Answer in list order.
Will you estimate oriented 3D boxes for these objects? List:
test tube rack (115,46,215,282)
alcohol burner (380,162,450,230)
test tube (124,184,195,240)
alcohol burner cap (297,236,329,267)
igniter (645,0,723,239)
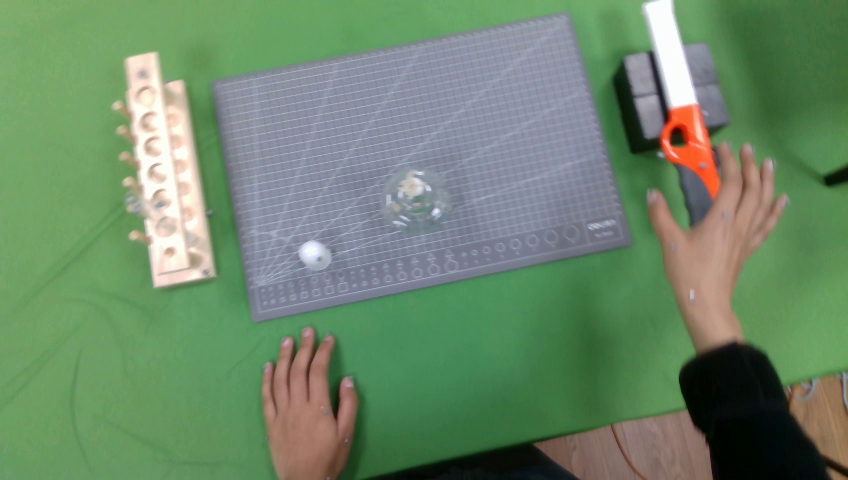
[{"bbox_3d":[-0.296,-0.081,0.676,0.067,0.085,0.241,-11,81,-2],"label":"test tube rack"},{"bbox_3d":[-0.010,-0.052,0.658,0.078,0.119,0.077,0,82,0],"label":"alcohol burner"},{"bbox_3d":[-0.265,-0.025,0.618,0.017,0.151,0.017,0,75,-1],"label":"test tube"},{"bbox_3d":[-0.126,0.010,0.683,0.034,0.048,0.033,0,80,0],"label":"alcohol burner cap"},{"bbox_3d":[0.289,-0.137,0.675,0.057,0.025,0.275,-10,81,9],"label":"igniter"}]
